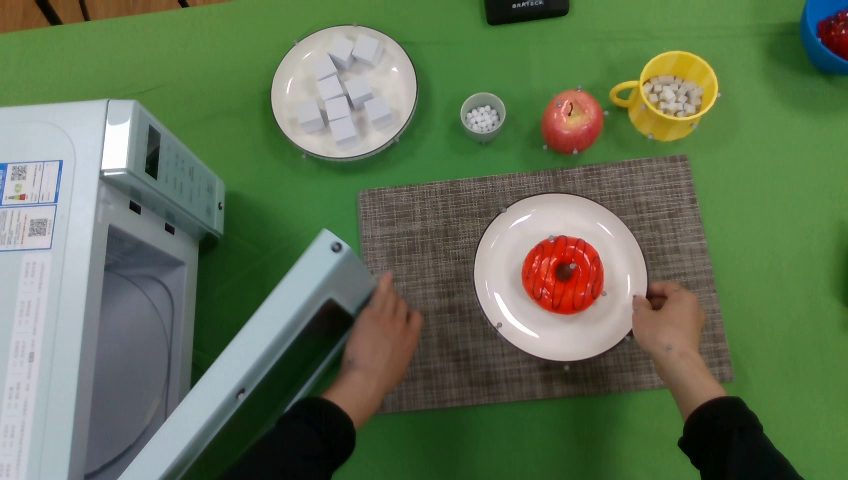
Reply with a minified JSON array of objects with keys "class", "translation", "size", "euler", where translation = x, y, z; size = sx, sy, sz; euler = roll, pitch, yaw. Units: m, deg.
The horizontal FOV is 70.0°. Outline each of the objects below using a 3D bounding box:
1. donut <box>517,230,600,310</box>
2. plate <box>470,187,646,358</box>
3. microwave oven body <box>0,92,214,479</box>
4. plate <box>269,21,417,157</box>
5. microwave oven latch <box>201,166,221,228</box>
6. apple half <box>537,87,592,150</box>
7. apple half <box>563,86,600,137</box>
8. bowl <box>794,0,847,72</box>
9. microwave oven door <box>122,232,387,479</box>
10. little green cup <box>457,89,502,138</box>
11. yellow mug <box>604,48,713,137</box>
[{"class":"donut","translation":[0.161,0.036,0.723],"size":[0.099,0.048,0.098],"euler":[0,76,2]},{"class":"plate","translation":[0.159,0.039,0.734],"size":[0.209,0.038,0.208],"euler":[0,75,2]},{"class":"microwave oven body","translation":[-0.437,0.097,0.683],"size":[0.326,0.261,0.439],"euler":[-3,76,3]},{"class":"plate","translation":[-0.112,-0.211,0.859],"size":[0.207,0.039,0.206],"euler":[-1,76,4]},{"class":"microwave oven latch","translation":[-0.290,-0.057,0.812],"size":[0.030,0.029,0.079],"euler":[0,76,3]},{"class":"apple half","translation":[0.180,-0.154,0.808],"size":[0.053,0.075,0.080],"euler":[-32,79,0]},{"class":"apple half","translation":[0.213,-0.175,0.810],"size":[0.033,0.082,0.081],"euler":[-33,75,0]},{"class":"bowl","translation":[0.565,-0.282,0.812],"size":[0.151,0.077,0.150],"euler":[-1,76,4]},{"class":"microwave oven door","translation":[-0.179,0.162,0.644],"size":[0.039,0.245,0.355],"euler":[36,81,13]},{"class":"little green cup","translation":[0.077,-0.172,0.837],"size":[0.061,0.039,0.061],"euler":[-1,75,4]},{"class":"yellow mug","translation":[0.310,-0.197,0.813],"size":[0.131,0.064,0.099],"euler":[4,76,6]}]
